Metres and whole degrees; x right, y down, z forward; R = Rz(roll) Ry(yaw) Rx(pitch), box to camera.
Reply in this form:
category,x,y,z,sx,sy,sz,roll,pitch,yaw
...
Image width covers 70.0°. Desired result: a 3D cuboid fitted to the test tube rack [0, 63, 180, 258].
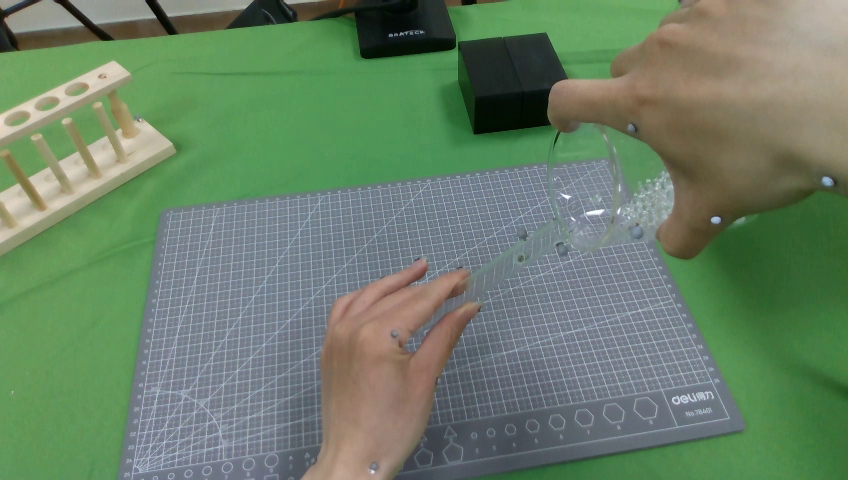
category,x,y,z,sx,sy,sz,roll,pitch,yaw
test tube rack,-0.367,-0.067,0.573,0.066,0.086,0.242,36,60,27

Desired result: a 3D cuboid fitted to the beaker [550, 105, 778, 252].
category,x,y,z,sx,sy,sz,roll,pitch,yaw
beaker,0.130,-0.034,0.334,0.100,0.084,0.073,-7,54,-13

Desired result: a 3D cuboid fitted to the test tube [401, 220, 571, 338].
category,x,y,z,sx,sy,sz,roll,pitch,yaw
test tube,0.034,0.030,0.399,0.017,0.150,0.017,28,43,-29
